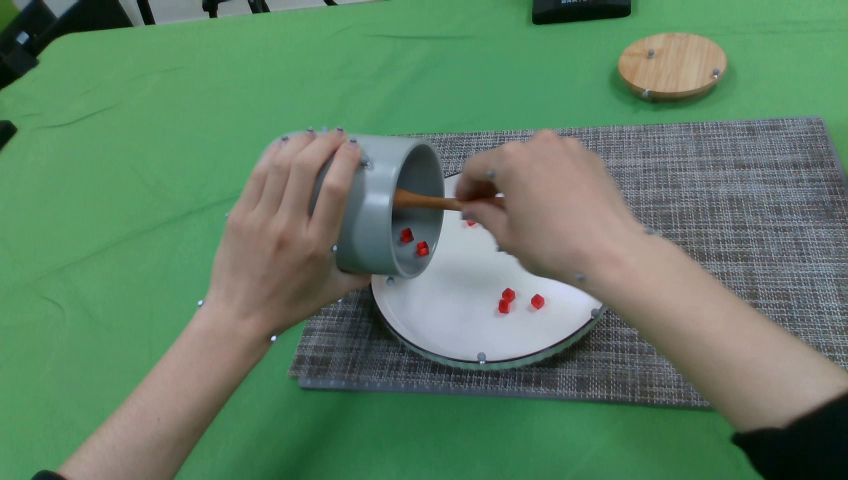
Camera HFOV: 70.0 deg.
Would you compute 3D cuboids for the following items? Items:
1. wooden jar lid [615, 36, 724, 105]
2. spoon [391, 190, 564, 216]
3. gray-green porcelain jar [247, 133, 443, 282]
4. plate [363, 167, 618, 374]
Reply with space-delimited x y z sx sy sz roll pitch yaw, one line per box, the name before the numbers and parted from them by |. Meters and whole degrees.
wooden jar lid | 0.261 -0.181 0.649 0.108 0.021 0.107 -7 50 9
spoon | 0.008 -0.028 0.446 0.193 0.022 0.041 4 76 25
gray-green porcelain jar | -0.062 -0.028 0.470 0.126 0.107 0.105 8 53 20
plate | 0.054 0.024 0.510 0.207 0.039 0.205 -7 49 9
